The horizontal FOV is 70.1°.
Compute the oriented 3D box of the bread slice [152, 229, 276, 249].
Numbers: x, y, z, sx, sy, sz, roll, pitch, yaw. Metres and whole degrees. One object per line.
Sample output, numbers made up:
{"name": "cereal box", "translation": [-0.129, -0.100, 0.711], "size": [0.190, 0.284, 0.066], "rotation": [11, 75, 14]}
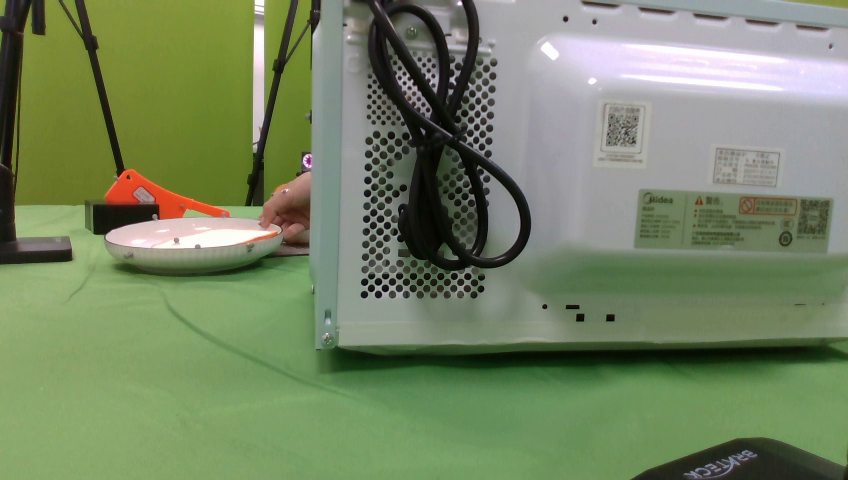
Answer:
{"name": "bread slice", "translation": [-0.265, 0.008, 0.757], "size": [0.106, 0.018, 0.135], "rotation": [3, 14, 22]}

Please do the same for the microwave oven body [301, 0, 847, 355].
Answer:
{"name": "microwave oven body", "translation": [0.120, -0.053, 0.535], "size": [0.443, 0.260, 0.325], "rotation": [2, 7, -11]}

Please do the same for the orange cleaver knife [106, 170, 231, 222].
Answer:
{"name": "orange cleaver knife", "translation": [-0.458, -0.060, 1.097], "size": [0.212, 0.077, 0.012], "rotation": [23, -4, -38]}

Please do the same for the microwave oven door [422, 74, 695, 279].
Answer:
{"name": "microwave oven door", "translation": [0.159, -0.091, 0.806], "size": [0.354, 0.243, 0.039], "rotation": [7, 9, 31]}

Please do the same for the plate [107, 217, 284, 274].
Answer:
{"name": "plate", "translation": [-0.285, 0.007, 0.770], "size": [0.208, 0.039, 0.207], "rotation": [1, 12, 0]}

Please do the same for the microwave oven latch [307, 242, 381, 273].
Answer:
{"name": "microwave oven latch", "translation": [-0.086, 0.019, 0.656], "size": [0.079, 0.029, 0.030], "rotation": [2, 7, -10]}
